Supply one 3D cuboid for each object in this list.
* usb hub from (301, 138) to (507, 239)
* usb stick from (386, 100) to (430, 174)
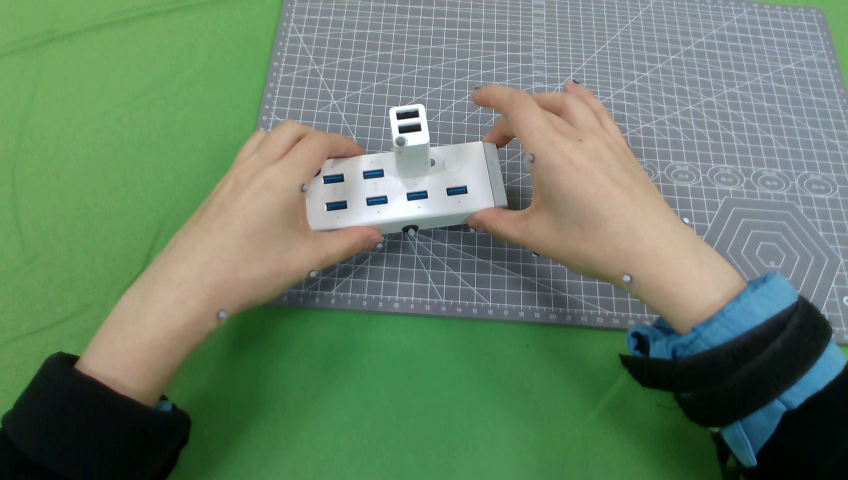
[{"bbox_3d":[-0.013,-0.034,0.386,0.125,0.025,0.049,-7,72,-5],"label":"usb hub"},{"bbox_3d":[-0.009,-0.057,0.363,0.021,0.059,0.027,-10,72,-2],"label":"usb stick"}]
